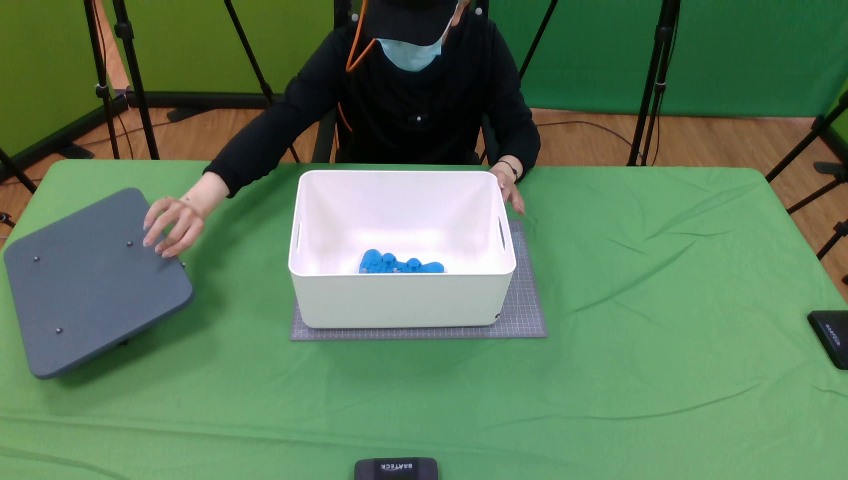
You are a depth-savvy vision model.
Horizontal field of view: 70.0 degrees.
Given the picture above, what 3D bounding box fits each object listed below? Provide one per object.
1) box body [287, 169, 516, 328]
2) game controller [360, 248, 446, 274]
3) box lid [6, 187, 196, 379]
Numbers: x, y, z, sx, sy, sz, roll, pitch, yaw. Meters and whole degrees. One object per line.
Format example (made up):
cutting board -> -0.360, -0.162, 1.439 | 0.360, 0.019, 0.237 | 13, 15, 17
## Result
box body -> -0.040, 0.015, 1.075 | 0.364, 0.161, 0.252 | -1, 47, -4
game controller -> -0.043, 0.056, 1.107 | 0.155, 0.052, 0.096 | 12, 52, 8
box lid -> -0.566, 0.054, 1.047 | 0.263, 0.015, 0.369 | -31, 49, -18
